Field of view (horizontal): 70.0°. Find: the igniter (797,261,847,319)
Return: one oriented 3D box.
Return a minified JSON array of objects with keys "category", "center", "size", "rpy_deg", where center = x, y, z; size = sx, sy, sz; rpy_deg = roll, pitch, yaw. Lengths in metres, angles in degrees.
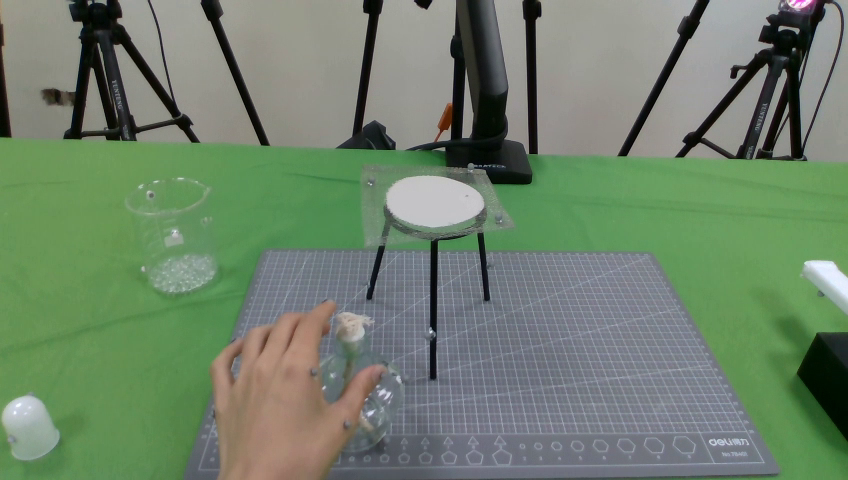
[{"category":"igniter","center":[0.397,0.097,0.490],"size":[0.057,0.025,0.274],"rpy_deg":[0,30,-4]}]

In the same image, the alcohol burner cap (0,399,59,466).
[{"category":"alcohol burner cap","center":[-0.297,0.140,0.452],"size":[0.034,0.048,0.033],"rpy_deg":[3,32,-2]}]

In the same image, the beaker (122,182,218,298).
[{"category":"beaker","center":[-0.250,0.001,0.615],"size":[0.084,0.101,0.073],"rpy_deg":[-25,43,-35]}]

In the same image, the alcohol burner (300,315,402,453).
[{"category":"alcohol burner","center":[-0.054,0.103,0.454],"size":[0.078,0.120,0.077],"rpy_deg":[3,33,-2]}]

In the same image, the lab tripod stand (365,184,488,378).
[{"category":"lab tripod stand","center":[0.007,0.029,0.552],"size":[0.148,0.132,0.147],"rpy_deg":[3,35,-2]}]

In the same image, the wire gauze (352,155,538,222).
[{"category":"wire gauze","center":[0.015,-0.044,0.509],"size":[0.125,0.011,0.120],"rpy_deg":[-8,30,-27]}]
